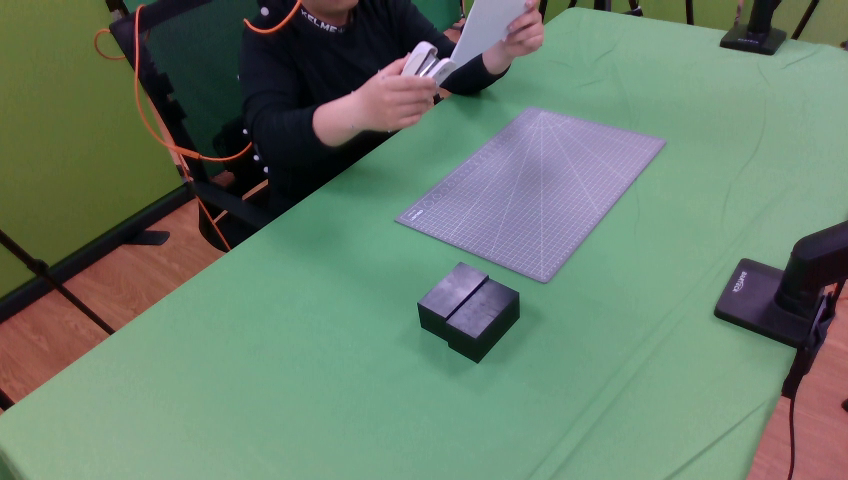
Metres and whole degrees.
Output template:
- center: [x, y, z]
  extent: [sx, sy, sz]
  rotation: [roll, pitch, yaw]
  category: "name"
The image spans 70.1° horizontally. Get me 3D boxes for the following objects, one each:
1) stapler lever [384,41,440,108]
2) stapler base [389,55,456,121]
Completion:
- center: [-0.022, -0.256, 0.936]
  extent: [0.040, 0.118, 0.027]
  rotation: [54, 23, 18]
  category: "stapler lever"
- center: [-0.007, -0.238, 0.929]
  extent: [0.024, 0.130, 0.041]
  rotation: [54, 23, 18]
  category: "stapler base"
